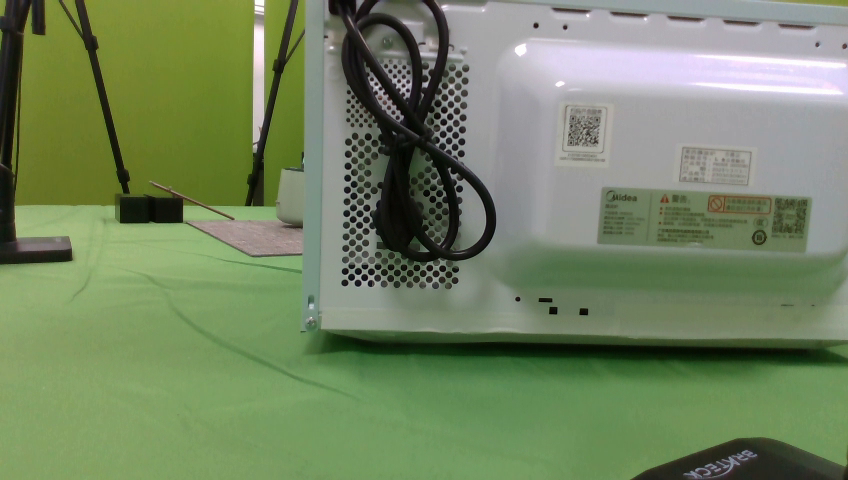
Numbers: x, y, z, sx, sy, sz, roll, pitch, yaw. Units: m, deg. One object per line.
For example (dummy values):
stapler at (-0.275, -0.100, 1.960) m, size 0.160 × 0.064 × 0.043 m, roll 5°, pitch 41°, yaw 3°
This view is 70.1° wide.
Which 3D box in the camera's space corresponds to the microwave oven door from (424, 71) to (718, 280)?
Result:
microwave oven door at (0.172, -0.088, 0.777) m, size 0.354 × 0.243 × 0.039 m, roll 5°, pitch 8°, yaw 24°

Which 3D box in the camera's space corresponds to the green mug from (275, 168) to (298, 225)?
green mug at (-0.235, -0.087, 1.209) m, size 0.092 × 0.105 × 0.126 m, roll 13°, pitch 12°, yaw 34°

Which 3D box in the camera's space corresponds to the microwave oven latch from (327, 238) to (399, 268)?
microwave oven latch at (-0.069, 0.015, 0.694) m, size 0.079 × 0.029 × 0.030 m, roll 3°, pitch 7°, yaw -3°

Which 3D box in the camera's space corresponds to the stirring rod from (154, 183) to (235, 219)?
stirring rod at (-0.472, -0.079, 1.252) m, size 0.177 × 0.006 × 0.014 m, roll 27°, pitch 4°, yaw -35°

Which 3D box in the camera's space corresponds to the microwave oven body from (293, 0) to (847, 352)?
microwave oven body at (0.122, -0.055, 0.550) m, size 0.442 × 0.260 × 0.325 m, roll 3°, pitch 7°, yaw -5°
